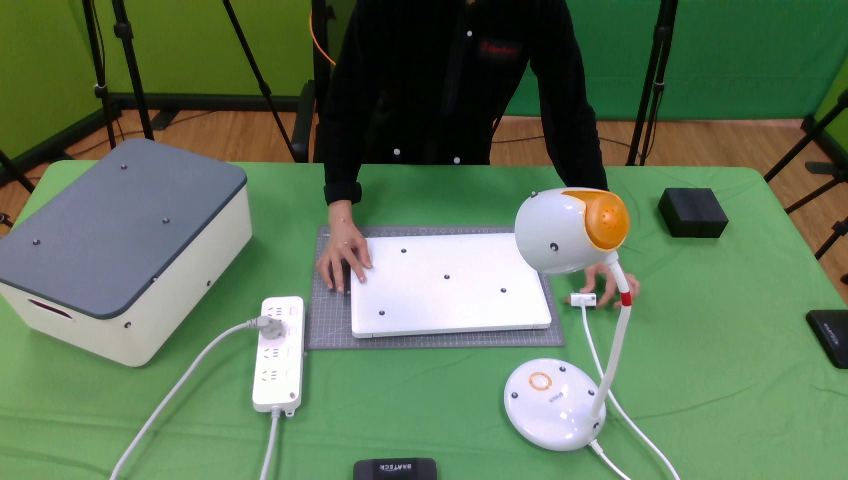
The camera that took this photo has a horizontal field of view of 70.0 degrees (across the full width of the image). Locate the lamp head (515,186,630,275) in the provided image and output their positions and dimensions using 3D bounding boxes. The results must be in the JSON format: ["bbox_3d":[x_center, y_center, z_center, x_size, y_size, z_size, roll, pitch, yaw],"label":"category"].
[{"bbox_3d":[0.188,-0.013,0.728,0.112,0.112,0.122,-25,9,-25],"label":"lamp head"}]

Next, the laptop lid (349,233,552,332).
[{"bbox_3d":[0.040,0.070,1.119,0.357,0.013,0.240,-1,44,-5],"label":"laptop lid"}]

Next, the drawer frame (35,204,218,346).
[{"bbox_3d":[-0.505,0.054,1.052,0.201,0.083,0.212,14,52,12],"label":"drawer frame"}]

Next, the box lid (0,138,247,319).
[{"bbox_3d":[-0.494,-0.037,0.994,0.263,0.015,0.370,17,46,12],"label":"box lid"}]

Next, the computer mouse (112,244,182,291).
[{"bbox_3d":[-0.493,0.046,1.078,0.117,0.041,0.062,24,41,13],"label":"computer mouse"}]

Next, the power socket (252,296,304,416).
[{"bbox_3d":[-0.238,0.182,0.997,0.072,0.033,0.225,-3,47,-5],"label":"power socket"}]

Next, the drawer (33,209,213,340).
[{"bbox_3d":[-0.509,0.054,1.046,0.194,0.073,0.211,15,43,11],"label":"drawer"}]

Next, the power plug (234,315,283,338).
[{"bbox_3d":[-0.269,0.144,1.000,0.072,0.053,0.035,4,47,2],"label":"power plug"}]

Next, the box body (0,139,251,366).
[{"bbox_3d":[-0.496,0.013,1.048,0.254,0.161,0.362,17,47,12],"label":"box body"}]

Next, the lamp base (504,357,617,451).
[{"bbox_3d":[0.220,0.211,0.903,0.160,0.181,0.178,-32,59,-30],"label":"lamp base"}]

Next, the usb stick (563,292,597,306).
[{"bbox_3d":[0.284,0.108,1.107,0.059,0.021,0.027,-3,7,15],"label":"usb stick"}]

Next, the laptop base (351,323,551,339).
[{"bbox_3d":[0.040,0.080,1.125,0.355,0.023,0.234,-2,43,-6],"label":"laptop base"}]
